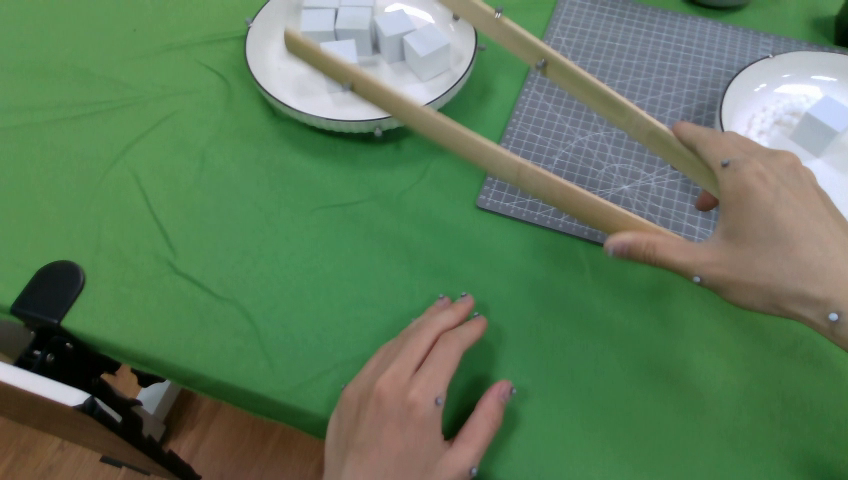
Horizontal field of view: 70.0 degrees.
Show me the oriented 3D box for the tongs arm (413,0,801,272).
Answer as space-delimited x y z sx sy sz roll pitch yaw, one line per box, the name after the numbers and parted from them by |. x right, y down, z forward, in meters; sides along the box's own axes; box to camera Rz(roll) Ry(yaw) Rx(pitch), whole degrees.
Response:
0.093 -0.103 0.439 0.382 0.027 0.050 39 61 19 | tongs arm

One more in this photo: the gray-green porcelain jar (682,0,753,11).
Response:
0.300 -0.301 0.591 0.106 0.127 0.105 0 57 0 | gray-green porcelain jar

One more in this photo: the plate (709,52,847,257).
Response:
0.336 -0.069 0.492 0.209 0.038 0.207 0 57 0 | plate

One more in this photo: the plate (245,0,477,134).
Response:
-0.056 -0.172 0.560 0.208 0.039 0.205 0 58 0 | plate

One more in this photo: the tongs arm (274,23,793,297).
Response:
0.049 -0.062 0.409 0.385 0.028 0.028 30 55 15 | tongs arm
